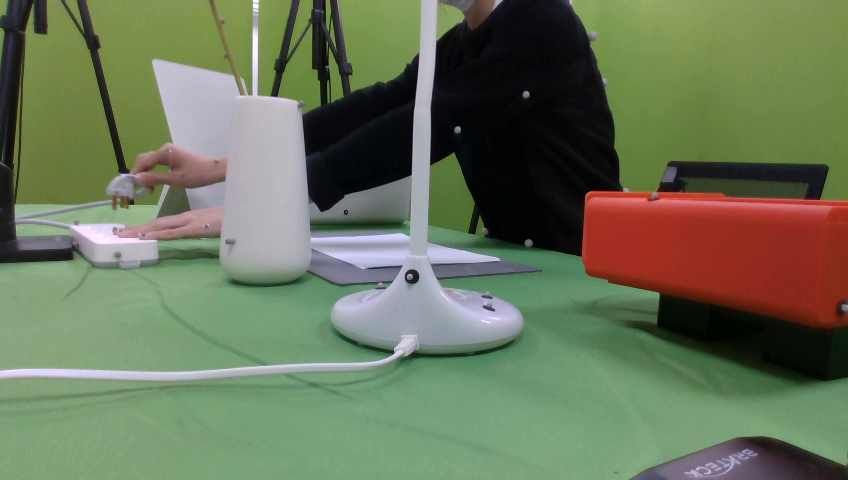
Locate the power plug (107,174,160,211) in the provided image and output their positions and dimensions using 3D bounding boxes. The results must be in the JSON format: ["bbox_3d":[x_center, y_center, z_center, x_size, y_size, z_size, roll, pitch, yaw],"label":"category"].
[{"bbox_3d":[-0.407,-0.066,0.854,0.073,0.052,0.035,1,5,-40],"label":"power plug"}]

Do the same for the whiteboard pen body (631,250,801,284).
[{"bbox_3d":[0.240,0.020,0.512,0.017,0.017,0.140,-4,8,-41],"label":"whiteboard pen body"}]

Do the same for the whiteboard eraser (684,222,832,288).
[{"bbox_3d":[0.304,0.013,0.558,0.056,0.042,0.112,-10,19,-30],"label":"whiteboard eraser"}]

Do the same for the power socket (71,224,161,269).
[{"bbox_3d":[-0.408,0.004,0.793,0.072,0.032,0.225,-2,8,-38],"label":"power socket"}]

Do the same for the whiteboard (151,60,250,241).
[{"bbox_3d":[-0.408,-0.139,1.093,0.143,0.305,0.218,-15,0,25],"label":"whiteboard"}]

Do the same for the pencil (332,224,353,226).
[{"bbox_3d":[-0.247,-0.045,1.339,0.195,0.012,0.012,8,4,-28],"label":"pencil"}]

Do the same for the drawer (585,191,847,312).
[{"bbox_3d":[0.280,0.001,0.513,0.195,0.073,0.211,-1,8,-28],"label":"drawer"}]

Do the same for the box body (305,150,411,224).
[{"bbox_3d":[-0.233,-0.127,1.374,0.366,0.160,0.253,-2,8,-29],"label":"box body"}]

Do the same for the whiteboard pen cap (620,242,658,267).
[{"bbox_3d":[0.199,0.014,0.556,0.018,0.018,0.033,-4,16,-38],"label":"whiteboard pen cap"}]

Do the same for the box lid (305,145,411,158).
[{"bbox_3d":[-0.232,-0.200,1.363,0.373,0.015,0.262,0,7,-29],"label":"box lid"}]

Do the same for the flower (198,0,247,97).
[{"bbox_3d":[-0.187,-0.133,0.648,0.038,0.362,0.044,0,22,43],"label":"flower"}]

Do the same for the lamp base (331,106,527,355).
[{"bbox_3d":[0.006,-0.012,0.478,0.161,0.180,0.179,2,10,2],"label":"lamp base"}]

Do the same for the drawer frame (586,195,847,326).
[{"bbox_3d":[0.284,0.004,0.508,0.203,0.082,0.212,-1,6,-28],"label":"drawer frame"}]

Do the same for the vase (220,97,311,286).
[{"bbox_3d":[-0.172,-0.052,0.662,0.098,0.200,0.098,3,9,0],"label":"vase"}]
